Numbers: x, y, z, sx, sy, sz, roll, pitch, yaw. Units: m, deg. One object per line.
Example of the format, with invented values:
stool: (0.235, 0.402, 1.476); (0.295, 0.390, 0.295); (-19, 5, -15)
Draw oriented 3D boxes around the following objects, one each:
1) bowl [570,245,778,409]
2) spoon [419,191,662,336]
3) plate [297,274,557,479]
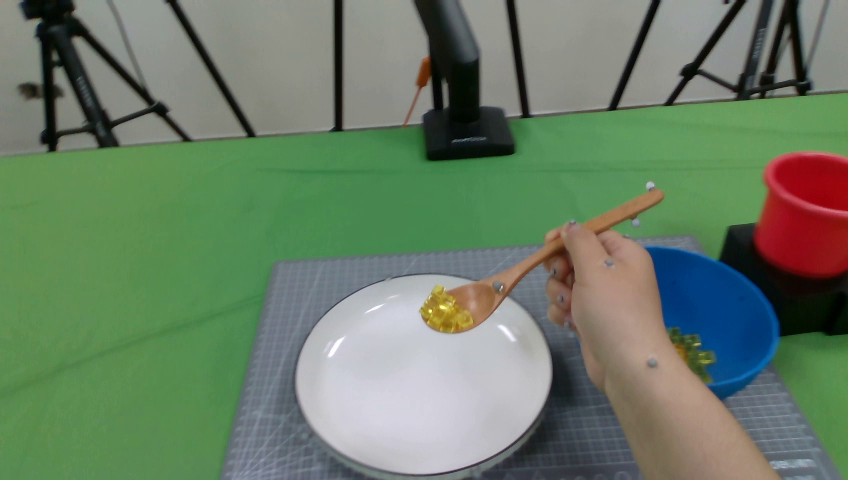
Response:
bowl: (0.190, 0.081, 0.486); (0.151, 0.077, 0.150); (-2, 39, 2)
spoon: (0.084, 0.013, 0.421); (0.194, 0.022, 0.041); (-31, 39, -3)
plate: (0.003, 0.110, 0.499); (0.207, 0.039, 0.205); (-2, 39, 2)
